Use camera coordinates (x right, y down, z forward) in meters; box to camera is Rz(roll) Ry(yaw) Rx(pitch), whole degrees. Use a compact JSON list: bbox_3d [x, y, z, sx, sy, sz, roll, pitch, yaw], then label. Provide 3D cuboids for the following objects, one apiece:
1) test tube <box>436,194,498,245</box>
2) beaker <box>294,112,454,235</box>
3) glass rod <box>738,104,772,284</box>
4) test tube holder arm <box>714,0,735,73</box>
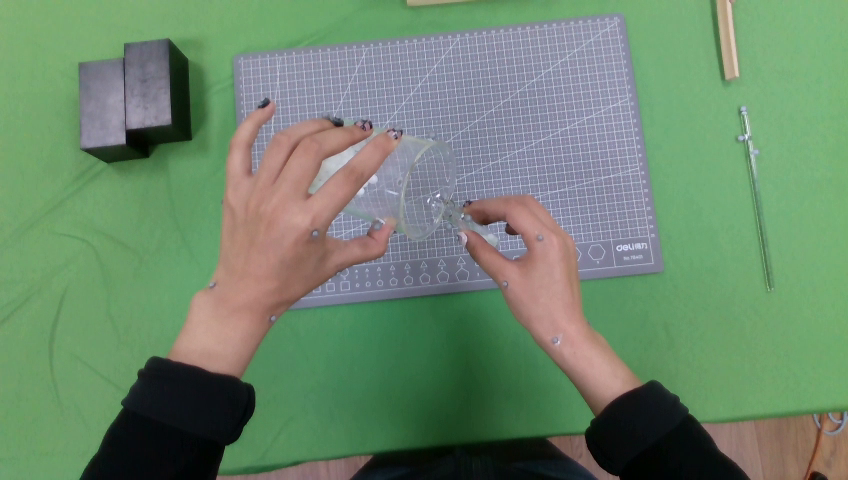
[{"bbox_3d":[0.042,-0.015,0.538,0.017,0.151,0.017,-4,78,20],"label":"test tube"},{"bbox_3d":[-0.038,-0.052,0.454,0.099,0.084,0.074,19,84,25],"label":"beaker"},{"bbox_3d":[0.357,-0.052,0.655,0.008,0.008,0.199,-4,82,1],"label":"glass rod"},{"bbox_3d":[0.335,-0.274,0.680,0.013,0.015,0.178,4,81,-27],"label":"test tube holder arm"}]
